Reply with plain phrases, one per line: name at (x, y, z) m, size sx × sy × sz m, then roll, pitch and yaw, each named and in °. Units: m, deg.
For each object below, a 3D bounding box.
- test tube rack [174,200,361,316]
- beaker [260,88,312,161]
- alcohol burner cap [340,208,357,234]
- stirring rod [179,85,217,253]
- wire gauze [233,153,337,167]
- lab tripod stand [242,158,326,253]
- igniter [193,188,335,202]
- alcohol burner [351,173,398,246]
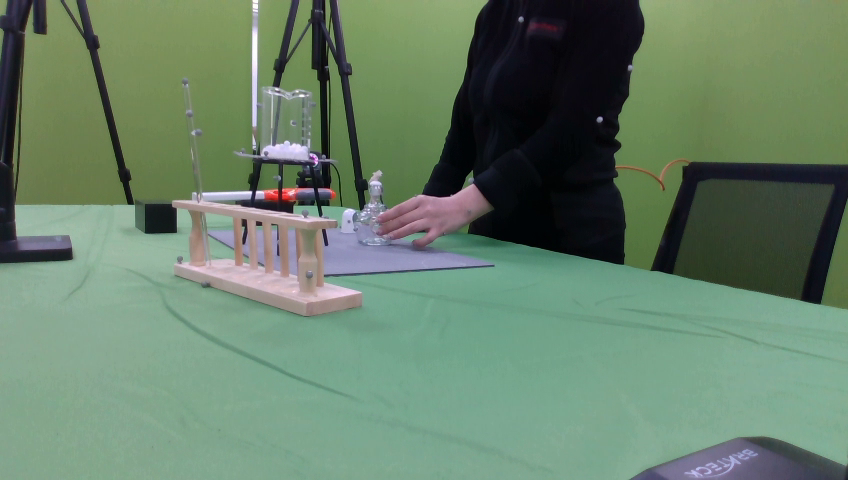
test tube rack at (-0.169, 0.009, 0.622) m, size 0.241 × 0.085 × 0.067 m, roll 9°, pitch 9°, yaw 41°
beaker at (-0.200, -0.166, 0.876) m, size 0.074 × 0.100 × 0.083 m, roll 1°, pitch 7°, yaw -18°
alcohol burner cap at (-0.142, -0.035, 1.136) m, size 0.034 × 0.048 × 0.034 m, roll 3°, pitch 7°, yaw 0°
stirring rod at (-0.236, -0.073, 0.634) m, size 0.006 × 0.176 × 0.014 m, roll 0°, pitch 10°, yaw 42°
wire gauze at (-0.205, -0.119, 0.887) m, size 0.122 × 0.011 × 0.124 m, roll 2°, pitch 4°, yaw -32°
lab tripod stand at (-0.207, -0.054, 0.895) m, size 0.148 × 0.131 × 0.148 m, roll 3°, pitch 5°, yaw 0°
igniter at (-0.312, -0.089, 1.209) m, size 0.278 × 0.025 × 0.057 m, roll -5°, pitch 13°, yaw -31°
alcohol burner at (-0.081, -0.051, 0.995) m, size 0.078 × 0.119 × 0.078 m, roll 1°, pitch 6°, yaw 0°
